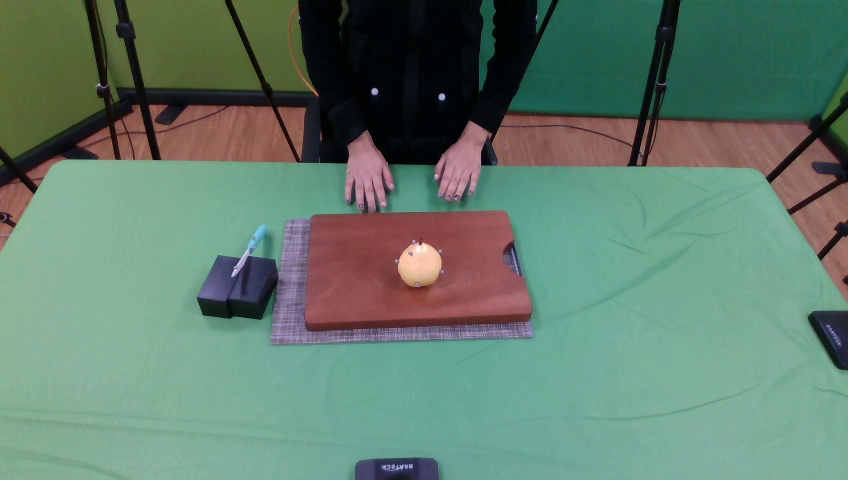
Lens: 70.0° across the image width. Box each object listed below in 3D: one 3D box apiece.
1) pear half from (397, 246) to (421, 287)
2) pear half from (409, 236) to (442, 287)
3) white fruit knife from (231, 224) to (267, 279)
[{"bbox_3d":[-0.029,0.046,1.066,0.031,0.088,0.070,-18,55,-20],"label":"pear half"},{"bbox_3d":[0.004,0.029,1.070,0.056,0.110,0.076,-18,53,-20],"label":"pear half"},{"bbox_3d":[-0.318,0.018,1.104,0.016,0.027,0.206,10,25,-4],"label":"white fruit knife"}]
